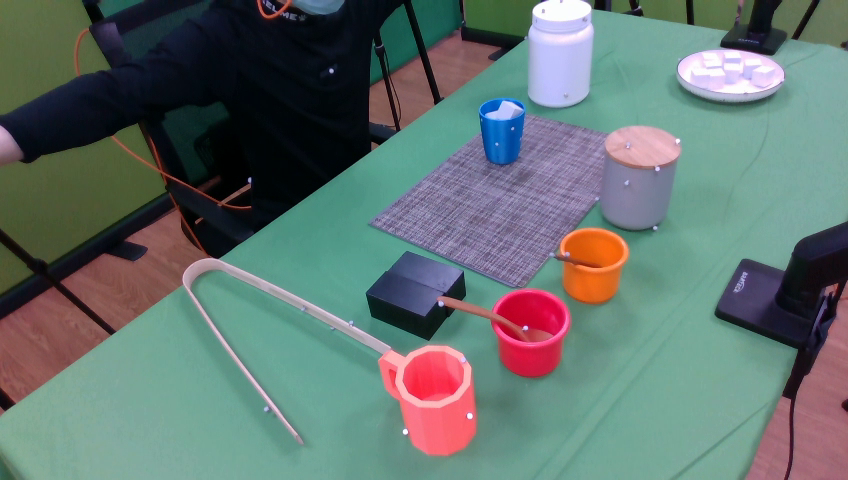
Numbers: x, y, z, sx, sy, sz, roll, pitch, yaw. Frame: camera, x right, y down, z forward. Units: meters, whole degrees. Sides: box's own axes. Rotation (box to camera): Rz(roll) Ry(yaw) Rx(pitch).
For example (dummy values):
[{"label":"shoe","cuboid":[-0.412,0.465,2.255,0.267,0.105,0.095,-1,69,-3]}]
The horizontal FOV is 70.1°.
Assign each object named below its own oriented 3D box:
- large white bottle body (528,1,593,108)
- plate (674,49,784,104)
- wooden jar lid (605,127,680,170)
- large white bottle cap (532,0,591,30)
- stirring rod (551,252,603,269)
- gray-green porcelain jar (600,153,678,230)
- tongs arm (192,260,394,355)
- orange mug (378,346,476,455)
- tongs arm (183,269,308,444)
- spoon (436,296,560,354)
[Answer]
[{"label":"large white bottle body","cuboid":[0.282,-0.386,1.259,0.130,0.185,0.130,-5,41,4]},{"label":"plate","cuboid":[0.631,-0.336,1.262,0.207,0.039,0.206,-4,41,4]},{"label":"wooden jar lid","cuboid":[0.327,-0.134,0.909,0.108,0.021,0.108,-2,43,2]},{"label":"large white bottle cap","cuboid":[0.274,-0.450,1.204,0.115,0.018,0.114,-4,41,4]},{"label":"stirring rod","cuboid":[0.211,0.029,0.822,0.014,0.006,0.177,32,12,33]},{"label":"gray-green porcelain jar","cuboid":[0.334,-0.088,0.949,0.106,0.127,0.105,-4,40,4]},{"label":"tongs arm","cuboid":[-0.205,0.101,0.881,0.382,0.027,0.051,22,54,31]},{"label":"orange mug","cuboid":[0.002,0.179,0.709,0.125,0.101,0.083,25,50,27]},{"label":"tongs arm","cuboid":[-0.260,0.149,0.842,0.028,0.028,0.384,-38,48,-18]},{"label":"spoon","cuboid":[0.095,0.102,0.750,0.195,0.021,0.041,28,30,-28]}]
